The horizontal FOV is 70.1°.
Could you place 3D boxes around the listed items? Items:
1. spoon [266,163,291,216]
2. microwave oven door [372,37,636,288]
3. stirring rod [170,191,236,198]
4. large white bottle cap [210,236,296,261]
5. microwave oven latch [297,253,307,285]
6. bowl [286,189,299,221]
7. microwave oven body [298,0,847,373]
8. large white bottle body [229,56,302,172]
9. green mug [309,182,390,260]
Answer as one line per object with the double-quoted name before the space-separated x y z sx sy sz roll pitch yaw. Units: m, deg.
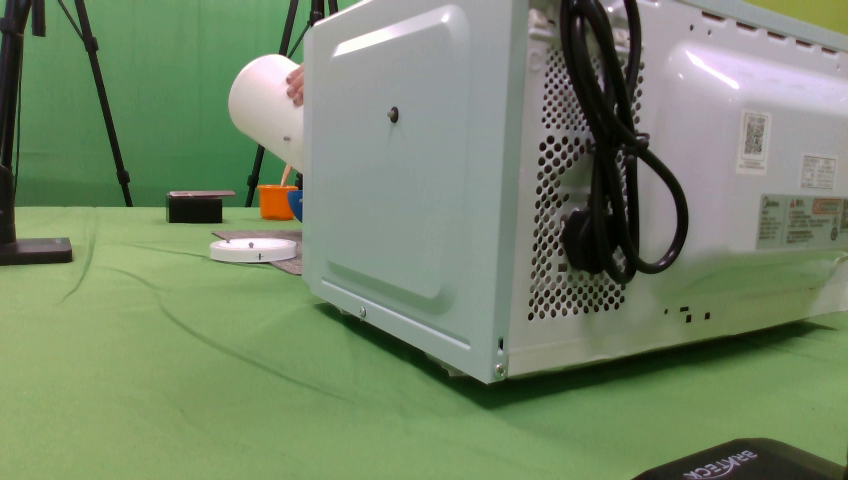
"spoon" -0.334 -0.127 1.423 0.041 0.193 0.022 0 -37 7
"microwave oven door" 0.110 -0.080 0.687 0.358 0.243 0.039 -2 9 -33
"stirring rod" -0.465 -0.098 1.283 0.014 0.006 0.177 42 21 17
"large white bottle cap" -0.236 0.011 0.839 0.115 0.018 0.115 -1 10 0
"microwave oven latch" -0.082 0.027 0.582 0.079 0.029 0.030 -1 7 -32
"bowl" -0.179 -0.051 1.115 0.151 0.077 0.151 3 8 0
"microwave oven body" 0.151 -0.055 0.543 0.444 0.260 0.324 -1 8 -33
"large white bottle body" -0.175 -0.173 0.880 0.184 0.130 0.131 34 20 22
"green mug" -0.102 -0.029 0.864 0.126 0.105 0.092 -4 9 -40
